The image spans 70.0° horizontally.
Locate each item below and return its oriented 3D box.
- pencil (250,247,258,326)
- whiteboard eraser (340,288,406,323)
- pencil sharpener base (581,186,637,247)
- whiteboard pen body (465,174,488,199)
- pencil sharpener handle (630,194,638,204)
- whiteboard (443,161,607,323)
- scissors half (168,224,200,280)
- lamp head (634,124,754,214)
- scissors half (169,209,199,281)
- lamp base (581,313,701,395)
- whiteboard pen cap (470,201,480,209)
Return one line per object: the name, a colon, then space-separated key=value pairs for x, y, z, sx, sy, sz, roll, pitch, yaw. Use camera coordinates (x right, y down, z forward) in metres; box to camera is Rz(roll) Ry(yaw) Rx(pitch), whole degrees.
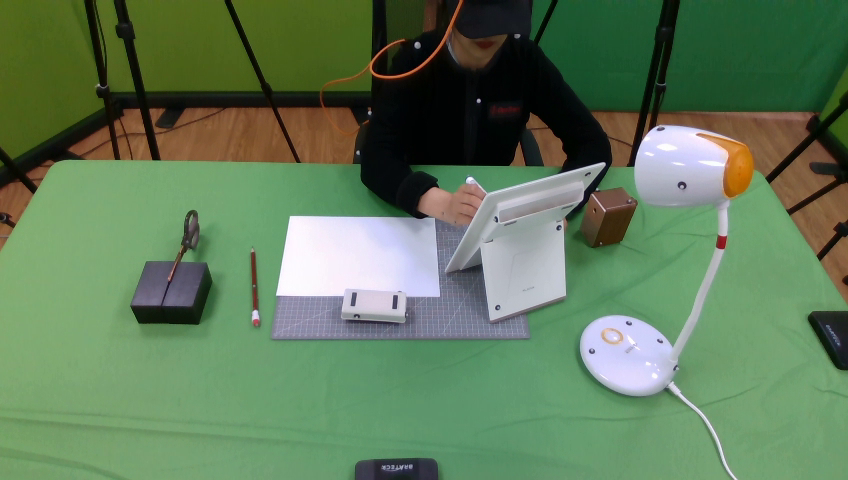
pencil: x=-0.311 y=0.079 z=1.107 sx=0.012 sy=0.012 sz=0.192 roll=-7 pitch=46 yaw=-11
whiteboard eraser: x=-0.088 y=0.117 z=1.060 sx=0.113 sy=0.042 sz=0.055 roll=3 pitch=45 yaw=-1
pencil sharpener base: x=0.369 y=-0.047 z=1.209 sx=0.077 sy=0.107 sz=0.061 roll=-11 pitch=47 yaw=-15
whiteboard pen body: x=0.109 y=-0.077 z=1.067 sx=0.017 sy=0.017 sz=0.140 roll=-15 pitch=40 yaw=-18
pencil sharpener handle: x=0.417 y=-0.068 z=1.215 sx=0.031 sy=0.068 sz=0.036 roll=-11 pitch=60 yaw=-14
whiteboard: x=0.185 y=0.025 z=1.029 sx=0.217 sy=0.306 sz=0.143 roll=-15 pitch=68 yaw=-18
scissors half: x=-0.440 y=0.023 z=1.111 sx=0.013 sy=0.040 sz=0.174 roll=7 pitch=29 yaw=-6
lamp head: x=0.351 y=-0.089 z=0.776 sx=0.112 sy=0.113 sz=0.122 roll=-30 pitch=30 yaw=-28
scissors half: x=-0.437 y=0.007 z=1.098 sx=0.013 sy=0.040 sz=0.174 roll=3 pitch=48 yaw=-3
lamp base: x=0.361 y=0.144 z=0.973 sx=0.178 sy=0.181 sz=0.160 roll=34 pitch=53 yaw=23
whiteboard pen cap: x=0.113 y=-0.073 z=1.279 sx=0.033 sy=0.018 sz=0.018 roll=4 pitch=46 yaw=6
